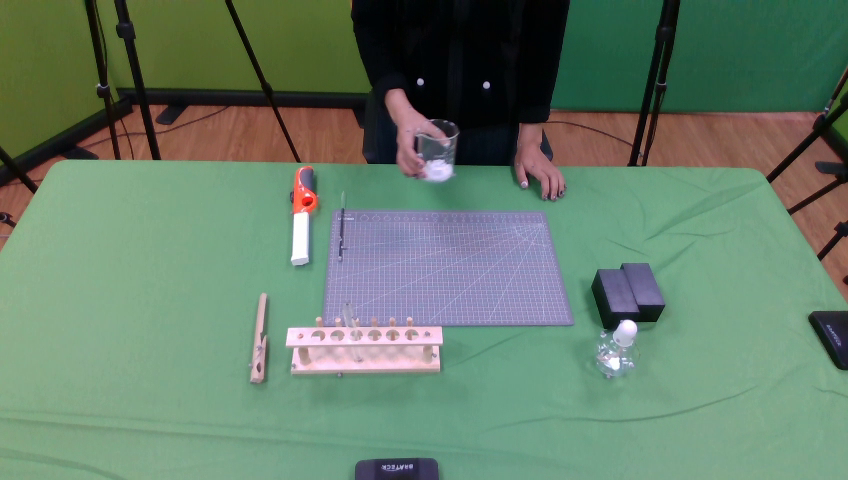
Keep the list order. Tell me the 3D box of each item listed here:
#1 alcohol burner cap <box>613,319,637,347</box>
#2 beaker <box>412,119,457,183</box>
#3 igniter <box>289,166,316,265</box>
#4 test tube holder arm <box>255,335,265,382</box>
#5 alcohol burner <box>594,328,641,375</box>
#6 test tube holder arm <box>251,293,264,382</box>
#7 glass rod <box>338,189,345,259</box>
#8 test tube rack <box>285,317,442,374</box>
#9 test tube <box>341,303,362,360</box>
[{"bbox_3d":[0.323,0.146,0.966,0.034,0.048,0.033,-1,52,2],"label":"alcohol burner cap"},{"bbox_3d":[0.015,-0.164,1.135,0.084,0.101,0.073,-8,42,-16],"label":"beaker"},{"bbox_3d":[-0.248,-0.058,1.233,0.057,0.025,0.274,-9,47,1],"label":"igniter"},{"bbox_3d":[-0.270,0.193,0.997,0.010,0.015,0.087,23,36,-32],"label":"test tube holder arm"},{"bbox_3d":[0.322,0.170,0.994,0.078,0.119,0.077,3,48,-3],"label":"alcohol burner"},{"bbox_3d":[-0.281,0.159,1.025,0.013,0.015,0.177,23,36,-32],"label":"test tube holder arm"},{"bbox_3d":[-0.166,-0.037,1.226,0.008,0.008,0.198,-1,47,-4],"label":"glass rod"},{"bbox_3d":[-0.095,0.166,0.988,0.242,0.085,0.066,0,46,-4],"label":"test tube rack"},{"bbox_3d":[-0.111,0.145,0.938,0.017,0.151,0.017,-1,50,2],"label":"test tube"}]
